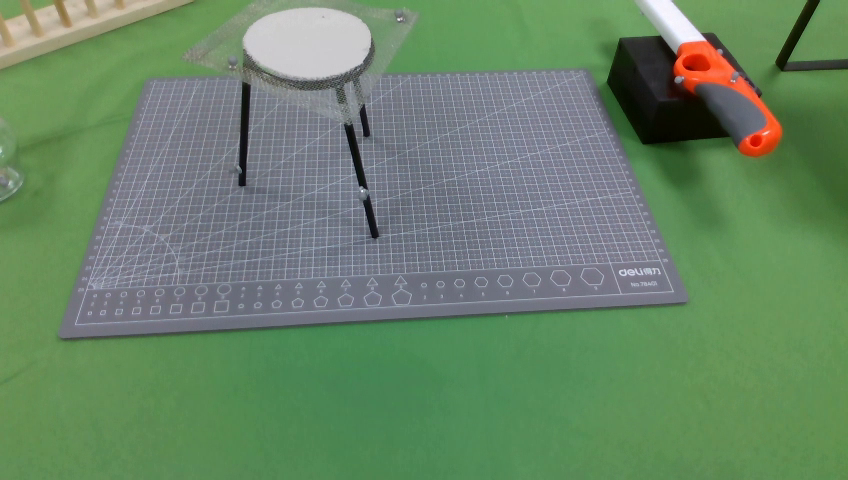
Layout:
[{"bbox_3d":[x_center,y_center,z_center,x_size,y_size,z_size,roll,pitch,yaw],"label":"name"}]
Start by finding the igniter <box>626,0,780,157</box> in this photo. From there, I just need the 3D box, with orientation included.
[{"bbox_3d":[0.247,-0.169,0.560,0.057,0.025,0.273,-7,48,-4],"label":"igniter"}]

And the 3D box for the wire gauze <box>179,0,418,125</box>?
[{"bbox_3d":[-0.080,-0.134,0.415,0.124,0.011,0.121,20,52,11],"label":"wire gauze"}]

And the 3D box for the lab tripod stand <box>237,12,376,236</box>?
[{"bbox_3d":[-0.079,-0.090,0.466,0.148,0.132,0.147,3,50,-3],"label":"lab tripod stand"}]

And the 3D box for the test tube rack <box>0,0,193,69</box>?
[{"bbox_3d":[-0.377,-0.262,0.630,0.242,0.086,0.066,-33,59,-27],"label":"test tube rack"}]

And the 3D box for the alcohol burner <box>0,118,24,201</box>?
[{"bbox_3d":[-0.362,-0.081,0.461,0.078,0.120,0.077,1,52,0],"label":"alcohol burner"}]
